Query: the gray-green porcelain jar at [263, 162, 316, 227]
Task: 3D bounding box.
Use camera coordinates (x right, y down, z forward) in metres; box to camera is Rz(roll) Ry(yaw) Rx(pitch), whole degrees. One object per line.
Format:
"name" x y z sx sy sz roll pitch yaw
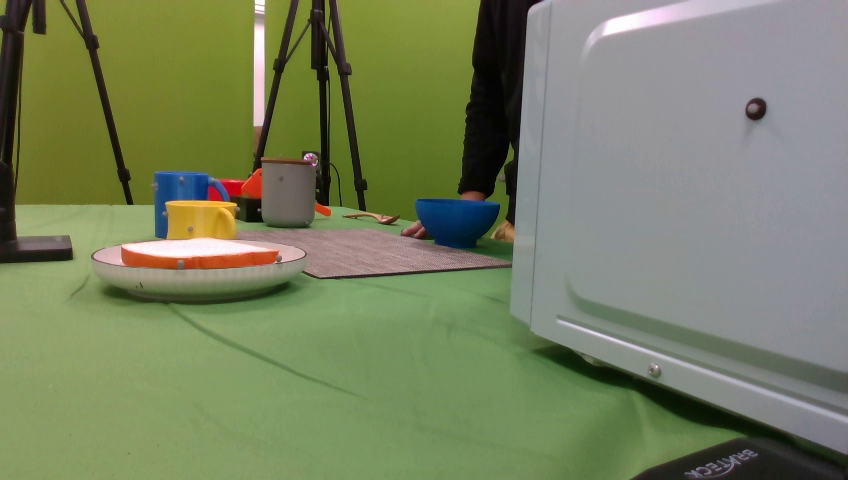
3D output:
"gray-green porcelain jar" -0.271 -0.092 1.217 0.106 0.126 0.106 2 7 0

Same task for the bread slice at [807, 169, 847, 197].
"bread slice" 0.365 -0.051 0.453 0.135 0.018 0.106 -9 1 -23

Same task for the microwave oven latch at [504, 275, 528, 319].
"microwave oven latch" 0.100 0.041 0.471 0.079 0.029 0.030 -1 7 -28

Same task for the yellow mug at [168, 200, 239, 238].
"yellow mug" -0.320 -0.023 0.904 0.130 0.064 0.100 9 11 36

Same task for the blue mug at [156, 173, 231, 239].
"blue mug" -0.381 -0.057 1.004 0.117 0.106 0.082 0 8 -12

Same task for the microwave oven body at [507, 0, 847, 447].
"microwave oven body" 0.331 -0.042 0.425 0.444 0.260 0.324 -2 8 -31

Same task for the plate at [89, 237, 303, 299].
"plate" -0.233 0.029 0.636 0.208 0.039 0.207 2 7 0

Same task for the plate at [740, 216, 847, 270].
"plate" 0.358 0.002 0.464 0.209 0.038 0.209 1 4 0

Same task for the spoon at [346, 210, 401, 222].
"spoon" -0.121 -0.060 1.400 0.042 0.021 0.192 -28 25 -37

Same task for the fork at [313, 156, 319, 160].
"fork" -0.331 -0.144 1.506 0.207 0.018 0.028 -42 -19 22

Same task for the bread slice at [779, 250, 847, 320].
"bread slice" 0.370 0.026 0.478 0.132 0.019 0.104 -24 10 -7

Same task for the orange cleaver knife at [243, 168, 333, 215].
"orange cleaver knife" -0.300 -0.089 1.351 0.212 0.077 0.012 28 -9 -34

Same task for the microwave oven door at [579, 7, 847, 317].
"microwave oven door" 0.294 -0.067 0.570 0.358 0.243 0.039 -3 9 -31

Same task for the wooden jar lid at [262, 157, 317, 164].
"wooden jar lid" -0.269 -0.154 1.208 0.108 0.020 0.108 3 4 0

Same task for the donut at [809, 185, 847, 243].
"donut" 0.351 -0.023 0.463 0.099 0.048 0.099 -10 5 1

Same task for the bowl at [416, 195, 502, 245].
"bowl" 0.059 -0.035 1.049 0.151 0.077 0.151 2 7 0
